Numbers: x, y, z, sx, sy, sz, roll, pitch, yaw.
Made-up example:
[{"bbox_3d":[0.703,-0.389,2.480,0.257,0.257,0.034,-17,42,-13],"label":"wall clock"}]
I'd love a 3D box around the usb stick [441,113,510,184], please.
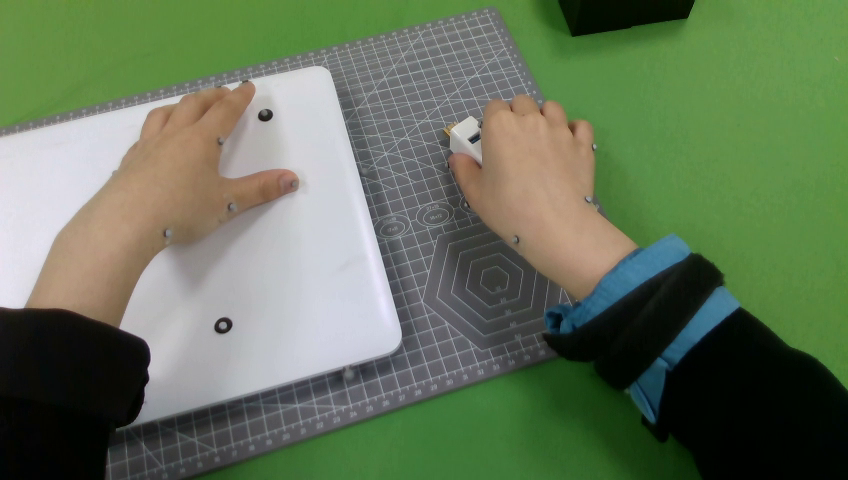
[{"bbox_3d":[0.034,-0.069,0.430,0.021,0.027,0.058,-35,63,-16],"label":"usb stick"}]

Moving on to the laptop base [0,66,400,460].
[{"bbox_3d":[-0.212,0.012,0.402,0.355,0.023,0.233,-15,66,-6],"label":"laptop base"}]

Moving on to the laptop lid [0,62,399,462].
[{"bbox_3d":[-0.212,0.008,0.391,0.357,0.013,0.239,-13,65,-5],"label":"laptop lid"}]
